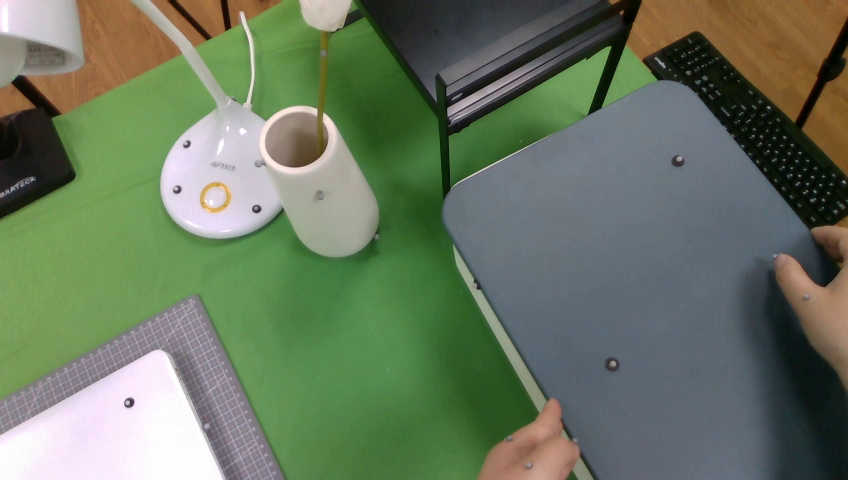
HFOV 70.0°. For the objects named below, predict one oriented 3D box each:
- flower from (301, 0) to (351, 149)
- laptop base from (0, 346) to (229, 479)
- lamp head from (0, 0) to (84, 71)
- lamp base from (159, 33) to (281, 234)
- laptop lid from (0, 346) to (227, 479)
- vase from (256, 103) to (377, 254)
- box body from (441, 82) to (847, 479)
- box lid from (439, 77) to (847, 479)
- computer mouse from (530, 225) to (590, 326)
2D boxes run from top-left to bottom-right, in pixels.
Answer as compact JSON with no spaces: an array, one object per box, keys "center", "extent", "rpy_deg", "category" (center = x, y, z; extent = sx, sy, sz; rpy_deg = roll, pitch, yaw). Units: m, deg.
[{"center":[-0.094,-0.095,0.543],"extent":[0.038,0.364,0.043],"rpy_deg":[-17,60,-22],"category":"flower"},{"center":[-0.370,0.290,0.600],"extent":[0.354,0.023,0.234],"rpy_deg":[-30,76,-8],"category":"laptop base"},{"center":[-0.264,-0.168,0.356],"extent":[0.112,0.112,0.122],"rpy_deg":[-1,88,2],"category":"lamp head"},{"center":[-0.239,-0.120,0.656],"extent":[0.160,0.181,0.178],"rpy_deg":[2,68,3],"category":"lamp base"},{"center":[-0.370,0.288,0.589],"extent":[0.357,0.013,0.240],"rpy_deg":[-28,74,-7],"category":"laptop lid"},{"center":[-0.107,-0.057,0.617],"extent":[0.098,0.201,0.097],"rpy_deg":[-1,69,4],"category":"vase"},{"center":[0.207,0.072,0.578],"extent":[0.254,0.161,0.361],"rpy_deg":[-28,71,-7],"category":"box body"},{"center":[0.202,0.048,0.495],"extent":[0.263,0.015,0.368],"rpy_deg":[-28,72,-6],"category":"box lid"},{"center":[0.147,0.035,0.654],"extent":[0.063,0.041,0.116],"rpy_deg":[4,64,8],"category":"computer mouse"}]
